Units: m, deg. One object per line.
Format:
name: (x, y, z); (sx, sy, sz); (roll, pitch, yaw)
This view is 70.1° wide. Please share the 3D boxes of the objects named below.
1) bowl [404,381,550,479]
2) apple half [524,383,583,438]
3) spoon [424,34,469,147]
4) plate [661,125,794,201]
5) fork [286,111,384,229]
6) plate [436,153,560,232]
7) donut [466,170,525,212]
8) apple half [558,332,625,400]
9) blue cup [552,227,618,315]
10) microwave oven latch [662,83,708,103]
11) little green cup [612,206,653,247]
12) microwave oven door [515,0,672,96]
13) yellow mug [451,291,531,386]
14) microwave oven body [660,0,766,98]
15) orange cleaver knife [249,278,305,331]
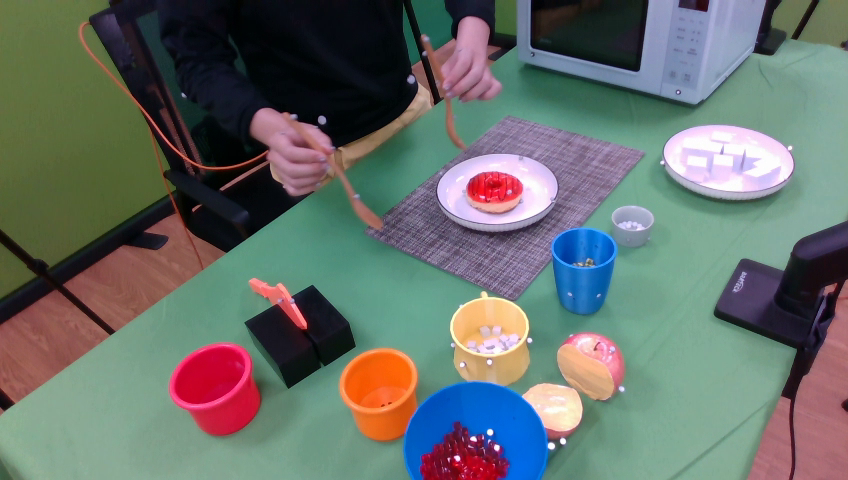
bowl: (0.058, 0.235, 0.645); (0.151, 0.077, 0.150); (-4, 39, 4)
apple half: (0.149, 0.204, 0.704); (0.081, 0.033, 0.081); (-10, 25, 5)
spoon: (0.034, -0.210, 0.869); (0.021, 0.195, 0.041); (-19, 43, 2)
plate: (0.513, -0.128, 1.035); (0.207, 0.039, 0.206); (-4, 40, 4)
fork: (-0.114, -0.089, 0.805); (0.018, 0.209, 0.028); (-21, 35, 21)
plate: (0.125, -0.078, 1.029); (0.209, 0.038, 0.208); (-4, 40, 4)
donut: (0.121, -0.083, 1.019); (0.099, 0.048, 0.098); (-4, 38, 4)
apple half: (0.209, 0.147, 0.731); (0.080, 0.075, 0.053); (25, 46, 38)
blue cup: (0.218, 0.047, 0.825); (0.092, 0.100, 0.092); (-6, 39, 5)
microwave oven latch: (0.518, -0.296, 1.204); (0.078, 0.029, 0.030); (28, 52, 35)
little green cup: (0.321, -0.019, 0.936); (0.061, 0.039, 0.061); (-4, 41, 4)
microwave oven door: (0.343, -0.455, 1.259); (0.353, 0.245, 0.039); (26, 51, 33)
yellow mug: (0.085, 0.120, 0.786); (0.100, 0.064, 0.130); (-7, 39, 1)
microwave oven body: (0.472, -0.513, 1.317); (0.438, 0.261, 0.327); (26, 51, 34)
orange cleaver knife: (-0.210, 0.088, 0.856); (0.012, 0.077, 0.210); (-28, 15, -25)
